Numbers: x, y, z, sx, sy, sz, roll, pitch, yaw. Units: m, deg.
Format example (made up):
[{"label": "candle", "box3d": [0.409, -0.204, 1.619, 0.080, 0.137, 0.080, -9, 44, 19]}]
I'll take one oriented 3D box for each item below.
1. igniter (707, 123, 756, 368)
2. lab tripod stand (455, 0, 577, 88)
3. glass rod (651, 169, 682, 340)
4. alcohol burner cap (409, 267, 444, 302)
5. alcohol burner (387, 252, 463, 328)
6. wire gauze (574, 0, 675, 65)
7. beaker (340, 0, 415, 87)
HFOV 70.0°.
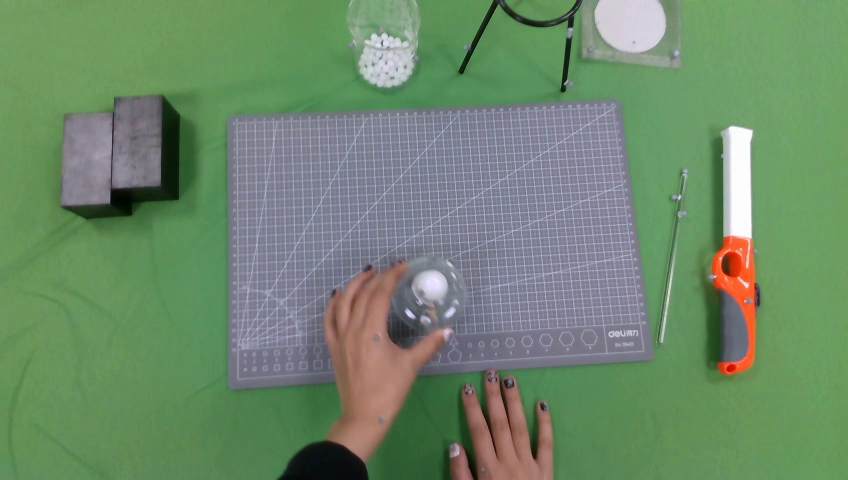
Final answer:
[{"label": "igniter", "box3d": [0.340, 0.003, 0.672, 0.057, 0.025, 0.275, 8, 79, -12]}, {"label": "lab tripod stand", "box3d": [0.105, -0.241, 0.653, 0.148, 0.132, 0.147, 0, 77, -1]}, {"label": "glass rod", "box3d": [0.271, 0.013, 0.677, 0.008, 0.008, 0.199, 13, 79, 0]}, {"label": "alcohol burner cap", "box3d": [0.004, 0.040, 0.565, 0.034, 0.048, 0.034, 1, 83, -5]}, {"label": "alcohol burner", "box3d": [0.002, 0.046, 0.600, 0.078, 0.119, 0.077, 1, 77, -3]}, {"label": "wire gauze", "box3d": [0.241, -0.272, 0.730, 0.125, 0.011, 0.121, 4, 78, 0]}, {"label": "beaker", "box3d": [-0.046, -0.216, 0.659, 0.084, 0.100, 0.074, 42, 80, 5]}]
